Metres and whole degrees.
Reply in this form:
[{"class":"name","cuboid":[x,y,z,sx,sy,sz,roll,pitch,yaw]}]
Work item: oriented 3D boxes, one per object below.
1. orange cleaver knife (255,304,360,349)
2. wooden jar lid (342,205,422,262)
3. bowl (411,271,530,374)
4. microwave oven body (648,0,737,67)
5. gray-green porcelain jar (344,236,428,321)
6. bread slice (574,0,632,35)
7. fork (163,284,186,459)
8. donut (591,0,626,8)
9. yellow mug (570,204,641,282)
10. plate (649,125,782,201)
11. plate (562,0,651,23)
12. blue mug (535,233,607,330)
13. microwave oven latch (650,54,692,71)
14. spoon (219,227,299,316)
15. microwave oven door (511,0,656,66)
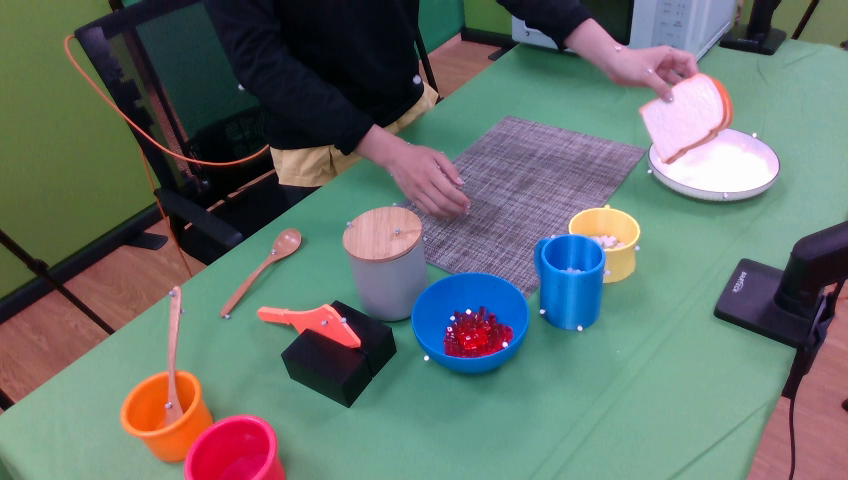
[{"class":"orange cleaver knife","cuboid":[-0.161,0.115,0.813,0.210,0.077,0.012,-4,32,47]},{"class":"wooden jar lid","cuboid":[-0.055,-0.006,0.808,0.108,0.021,0.108,-6,40,6]},{"class":"bowl","cuboid":[0.062,0.119,0.780,0.151,0.077,0.150,-4,40,4]},{"class":"microwave oven body","cuboid":[0.475,-0.602,1.411,0.438,0.261,0.327,23,50,32]},{"class":"gray-green porcelain jar","cuboid":[-0.049,0.042,0.849,0.106,0.127,0.105,-4,41,4]},{"class":"bread slice","cuboid":[0.430,-0.560,1.477,0.105,0.019,0.131,-28,68,-21]},{"class":"fork","cuboid":[-0.302,0.157,0.733,0.028,0.019,0.207,-3,84,15]},{"class":"donut","cuboid":[0.438,-0.588,1.433,0.099,0.048,0.098,-2,53,4]},{"class":"yellow mug","cuboid":[0.268,-0.005,0.904,0.099,0.064,0.130,7,41,15]},{"class":"plate","cuboid":[0.493,-0.127,1.036,0.207,0.039,0.206,-4,40,4]},{"class":"plate","cuboid":[0.440,-0.572,1.456,0.209,0.038,0.208,-6,43,6]},{"class":"blue mug","cuboid":[0.191,0.048,0.824,0.082,0.106,0.115,-26,44,-20]},{"class":"microwave oven latch","cuboid":[0.530,-0.386,1.301,0.078,0.029,0.030,24,50,32]},{"class":"spoon","cuboid":[-0.261,0.046,0.953,0.041,0.021,0.194,27,49,10]},{"class":"microwave oven door","cuboid":[0.350,-0.539,1.349,0.353,0.245,0.039,24,50,31]}]
